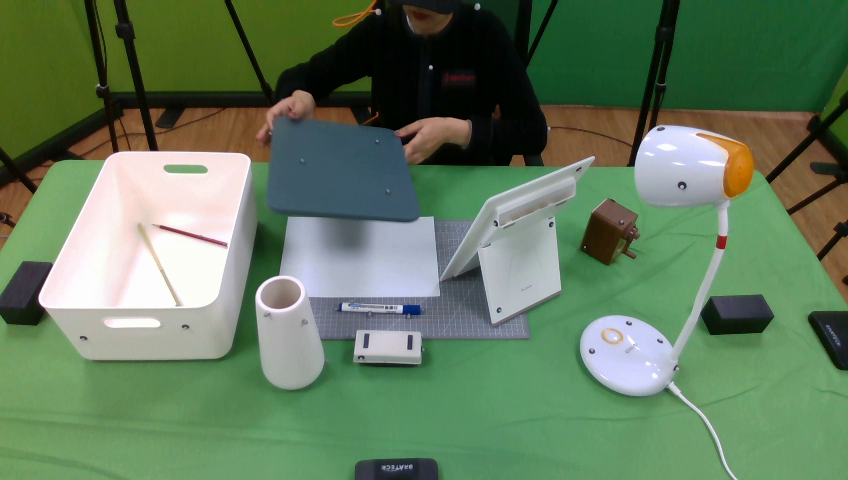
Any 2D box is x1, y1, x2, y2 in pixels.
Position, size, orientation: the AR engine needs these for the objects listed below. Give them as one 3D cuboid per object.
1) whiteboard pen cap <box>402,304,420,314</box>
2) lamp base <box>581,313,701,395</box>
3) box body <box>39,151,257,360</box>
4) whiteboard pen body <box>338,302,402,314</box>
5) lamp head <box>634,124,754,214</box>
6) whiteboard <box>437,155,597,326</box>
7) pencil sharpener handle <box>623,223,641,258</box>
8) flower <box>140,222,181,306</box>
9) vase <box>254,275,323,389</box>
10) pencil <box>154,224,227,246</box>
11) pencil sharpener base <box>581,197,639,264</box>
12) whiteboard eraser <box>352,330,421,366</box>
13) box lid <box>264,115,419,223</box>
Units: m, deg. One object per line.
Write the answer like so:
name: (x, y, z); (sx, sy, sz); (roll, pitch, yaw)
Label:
whiteboard pen cap: (-0.024, 0.123, 1.076); (0.033, 0.018, 0.018); (1, 46, 0)
lamp base: (0.361, 0.144, 0.972); (0.178, 0.181, 0.160); (34, 53, 23)
box body: (-0.441, 0.022, 1.046); (0.254, 0.161, 0.361); (0, 46, -4)
whiteboard pen body: (-0.083, 0.121, 1.074); (0.141, 0.017, 0.017); (3, 46, -2)
lamp head: (0.351, -0.089, 0.776); (0.112, 0.113, 0.122); (-30, 30, -28)
whiteboard: (0.180, 0.023, 1.029); (0.217, 0.306, 0.143); (-21, 71, -23)
pencil sharpener handle: (0.399, 0.002, 1.146); (0.030, 0.068, 0.036); (35, 45, 26)
flower: (-0.459, 0.074, 1.084); (0.044, 0.038, 0.359); (-27, 51, -19)
vase: (-0.209, 0.143, 0.921); (0.098, 0.201, 0.097); (1, 46, -1)
pencil: (-0.439, -0.007, 1.172); (0.194, 0.012, 0.012); (14, 47, 11)
pencil sharpener base: (0.362, -0.016, 1.178); (0.076, 0.107, 0.061); (35, 53, 26)
whiteboard eraser: (-0.061, 0.180, 1.005); (0.113, 0.042, 0.055); (2, 47, -2)
box lid: (-0.157, -0.144, 1.142); (0.264, 0.015, 0.369); (5, 34, -14)
